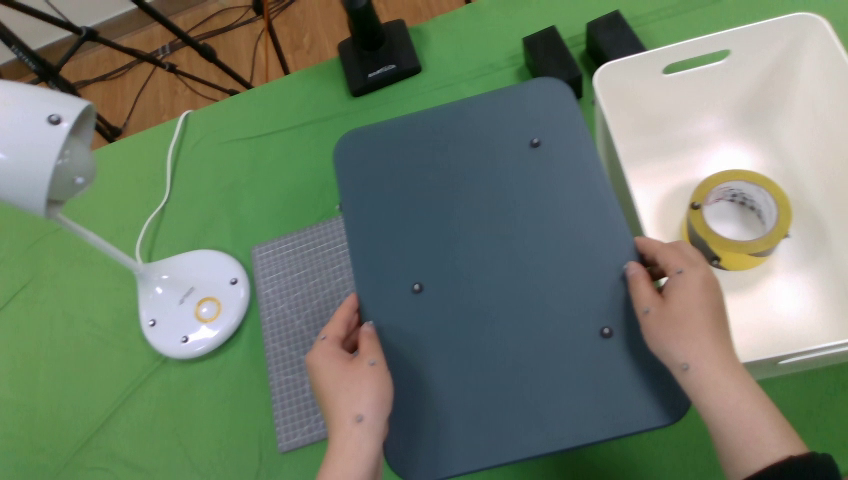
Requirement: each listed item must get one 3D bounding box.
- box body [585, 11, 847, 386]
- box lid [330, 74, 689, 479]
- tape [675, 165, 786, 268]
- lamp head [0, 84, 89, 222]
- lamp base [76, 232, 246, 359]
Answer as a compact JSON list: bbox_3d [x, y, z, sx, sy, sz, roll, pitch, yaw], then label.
[{"bbox_3d":[0.346,-0.040,0.671,0.254,0.162,0.360,-14,63,7],"label":"box body"},{"bbox_3d":[0.059,0.011,0.570,0.263,0.015,0.368,-15,64,3],"label":"box lid"},{"bbox_3d":[0.360,-0.029,0.718,0.116,0.053,0.116,-5,65,11],"label":"tape"},{"bbox_3d":[-0.371,-0.084,0.523,0.123,0.112,0.111,17,66,-16],"label":"lamp head"},{"bbox_3d":[-0.355,0.053,0.789,0.178,0.182,0.160,16,70,23],"label":"lamp base"}]
